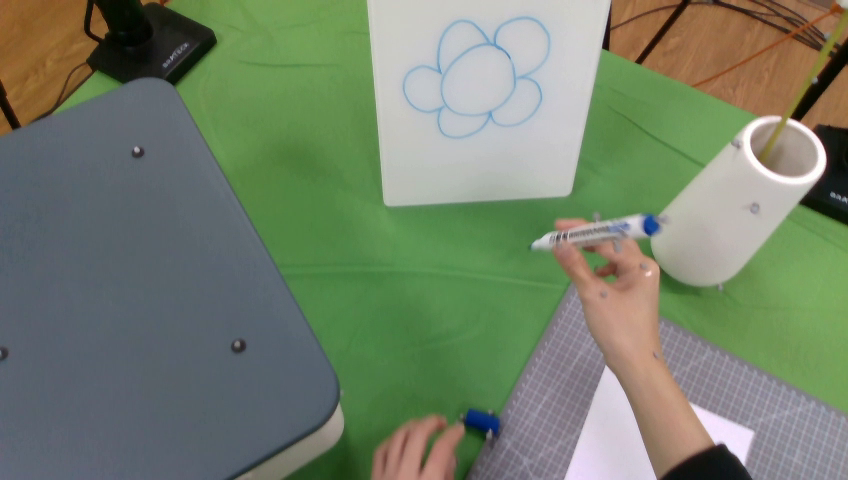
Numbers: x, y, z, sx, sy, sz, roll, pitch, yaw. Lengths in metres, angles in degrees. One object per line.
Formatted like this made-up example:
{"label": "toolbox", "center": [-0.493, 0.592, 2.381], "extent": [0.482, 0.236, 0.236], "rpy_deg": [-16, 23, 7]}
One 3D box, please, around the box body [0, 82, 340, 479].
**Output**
{"label": "box body", "center": [-0.260, 0.075, 0.536], "extent": [0.254, 0.161, 0.361], "rpy_deg": [-29, 68, -15]}

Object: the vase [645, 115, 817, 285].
{"label": "vase", "center": [0.287, -0.033, 0.585], "extent": [0.098, 0.201, 0.097], "rpy_deg": [0, 62, 0]}

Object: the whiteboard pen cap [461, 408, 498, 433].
{"label": "whiteboard pen cap", "center": [0.052, 0.173, 0.577], "extent": [0.033, 0.018, 0.018], "rpy_deg": [16, 64, 12]}

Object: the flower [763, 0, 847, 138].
{"label": "flower", "center": [0.289, -0.084, 0.518], "extent": [0.044, 0.364, 0.038], "rpy_deg": [22, 48, 13]}

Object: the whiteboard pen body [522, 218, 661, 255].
{"label": "whiteboard pen body", "center": [0.125, 0.000, 0.480], "extent": [0.017, 0.140, 0.017], "rpy_deg": [5, 80, -31]}

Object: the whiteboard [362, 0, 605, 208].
{"label": "whiteboard", "center": [0.050, -0.200, 0.636], "extent": [0.217, 0.308, 0.142], "rpy_deg": [-3, 44, -2]}

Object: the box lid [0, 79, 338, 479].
{"label": "box lid", "center": [-0.260, 0.040, 0.470], "extent": [0.263, 0.015, 0.368], "rpy_deg": [-29, 68, -15]}
